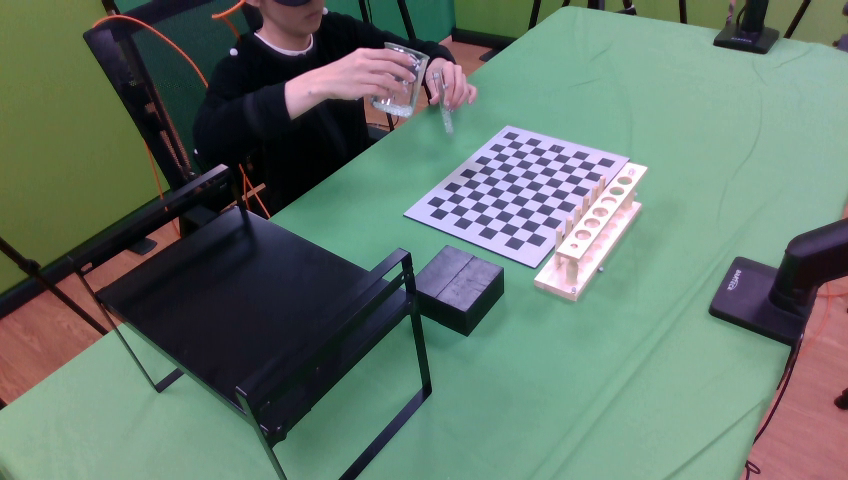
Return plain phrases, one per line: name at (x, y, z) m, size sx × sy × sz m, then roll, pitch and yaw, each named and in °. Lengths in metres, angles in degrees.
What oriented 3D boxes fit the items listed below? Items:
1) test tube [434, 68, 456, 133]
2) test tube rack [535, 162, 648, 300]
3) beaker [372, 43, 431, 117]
test tube at (0.039, -0.252, 1.107) m, size 0.017 × 0.151 × 0.017 m, roll -7°, pitch 54°, yaw 10°
test tube rack at (0.257, -0.024, 0.916) m, size 0.066 × 0.085 × 0.243 m, roll 22°, pitch 49°, yaw 30°
beaker at (-0.036, -0.251, 0.961) m, size 0.073 × 0.100 × 0.084 m, roll 23°, pitch 13°, yaw 24°
